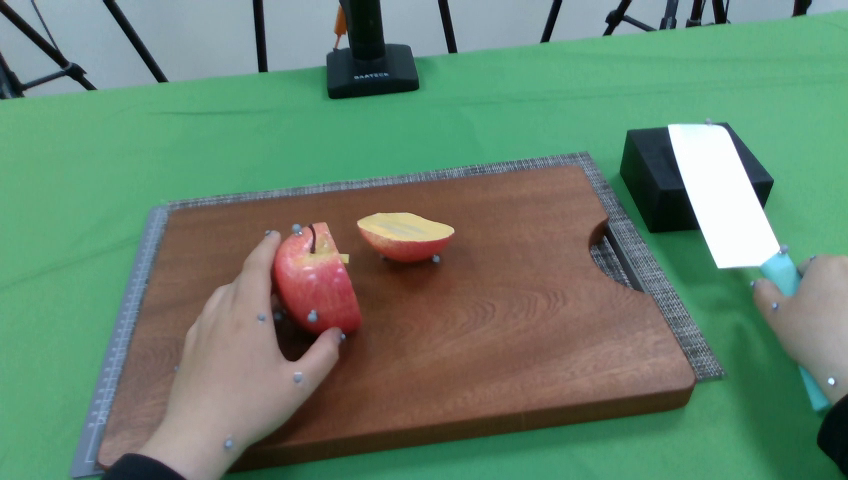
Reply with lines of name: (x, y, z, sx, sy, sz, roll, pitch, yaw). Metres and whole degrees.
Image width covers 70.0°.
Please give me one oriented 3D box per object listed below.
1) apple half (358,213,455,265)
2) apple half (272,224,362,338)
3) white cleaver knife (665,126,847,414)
apple half: (-0.018, 0.004, 0.500, 0.081, 0.033, 0.081, 6, 20, -2)
apple half: (-0.082, 0.035, 0.445, 0.053, 0.075, 0.080, -20, 47, -11)
white cleaver knife: (0.263, 0.006, 0.499, 0.066, 0.022, 0.283, -7, 52, 5)
